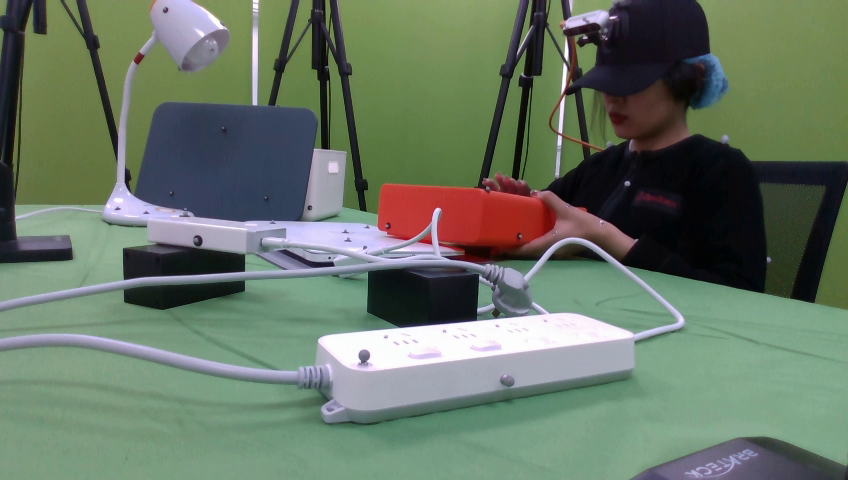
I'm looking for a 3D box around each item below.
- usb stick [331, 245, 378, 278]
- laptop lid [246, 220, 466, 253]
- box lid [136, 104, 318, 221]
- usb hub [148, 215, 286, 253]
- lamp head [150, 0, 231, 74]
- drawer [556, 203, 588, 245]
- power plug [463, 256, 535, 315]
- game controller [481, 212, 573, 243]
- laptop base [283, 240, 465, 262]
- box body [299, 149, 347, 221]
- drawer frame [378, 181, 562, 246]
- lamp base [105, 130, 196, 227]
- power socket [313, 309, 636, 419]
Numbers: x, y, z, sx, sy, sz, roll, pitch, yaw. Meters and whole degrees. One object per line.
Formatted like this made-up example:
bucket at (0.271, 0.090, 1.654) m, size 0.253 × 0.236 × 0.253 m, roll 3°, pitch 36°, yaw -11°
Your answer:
usb stick at (-0.085, 0.026, 0.701) m, size 0.059 × 0.027 × 0.021 m, roll -18°, pitch 18°, yaw 27°
laptop lid at (-0.123, -0.009, 0.945) m, size 0.243 × 0.013 × 0.355 m, roll 1°, pitch 7°, yaw -29°
box lid at (-0.411, -0.162, 1.266) m, size 0.371 × 0.263 × 0.015 m, roll 3°, pitch -15°, yaw 9°
usb hub at (-0.197, -0.006, 0.575) m, size 0.125 × 0.025 × 0.050 m, roll 6°, pitch 6°, yaw 22°
lamp head at (-0.432, -0.375, 1.086) m, size 0.123 × 0.112 × 0.112 m, roll 42°, pitch 8°, yaw -3°
drawer at (0.140, -0.035, 1.023) m, size 0.193 × 0.073 × 0.213 m, roll 7°, pitch 3°, yaw 42°
power plug at (0.064, 0.039, 0.530) m, size 0.072 × 0.052 × 0.035 m, roll 31°, pitch 43°, yaw 7°
game controller at (0.173, -0.023, 1.058) m, size 0.154 × 0.051 × 0.097 m, roll 4°, pitch 3°, yaw 42°
laptop base at (-0.125, 0.003, 0.946) m, size 0.237 × 0.023 × 0.352 m, roll 1°, pitch 6°, yaw -31°
box body at (-0.384, -0.137, 1.407) m, size 0.364 × 0.160 × 0.254 m, roll 3°, pitch 8°, yaw 7°
drawer frame at (0.074, -0.040, 0.948) m, size 0.200 × 0.082 × 0.215 m, roll 8°, pitch 4°, yaw 40°
lamp base at (-0.532, -0.120, 1.153) m, size 0.179 × 0.180 × 0.161 m, roll 1°, pitch 7°, yaw 8°
power socket at (0.039, 0.072, 0.384) m, size 0.228 × 0.032 × 0.072 m, roll -2°, pitch 7°, yaw -28°
